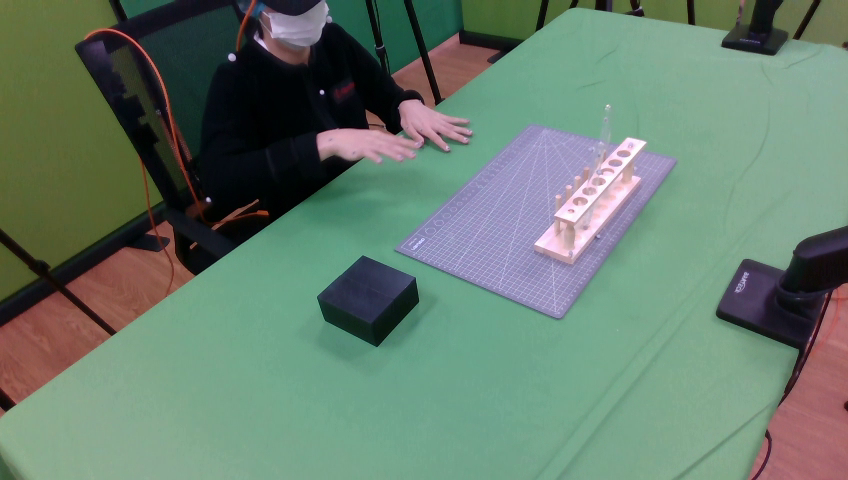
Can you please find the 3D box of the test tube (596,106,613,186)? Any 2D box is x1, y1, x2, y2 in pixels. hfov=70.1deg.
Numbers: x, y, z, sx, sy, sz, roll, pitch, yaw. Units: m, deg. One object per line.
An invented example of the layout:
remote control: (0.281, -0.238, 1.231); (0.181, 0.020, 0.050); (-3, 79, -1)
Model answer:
test tube: (0.294, -0.150, 0.984); (0.017, 0.151, 0.017); (-5, 40, 4)

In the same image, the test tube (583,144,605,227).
test tube: (0.251, -0.077, 0.896); (0.017, 0.151, 0.017); (-3, 43, 3)

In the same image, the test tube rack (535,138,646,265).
test tube rack: (0.268, -0.071, 0.964); (0.066, 0.085, 0.243); (23, 49, 32)
